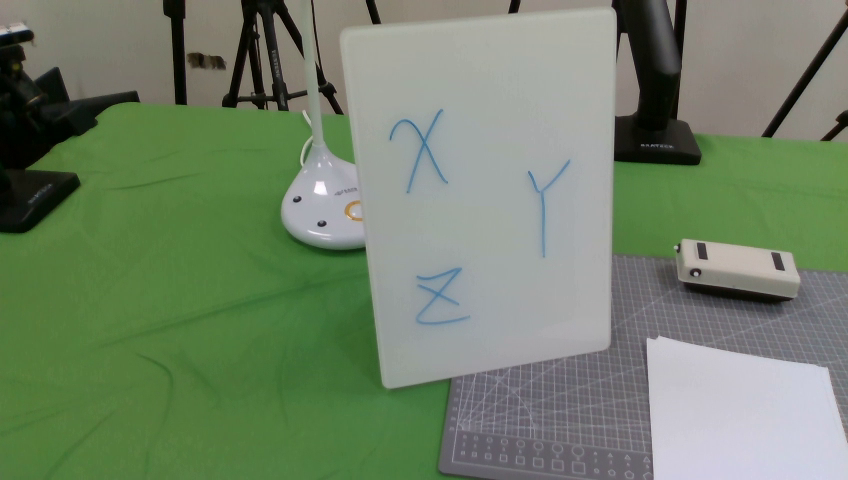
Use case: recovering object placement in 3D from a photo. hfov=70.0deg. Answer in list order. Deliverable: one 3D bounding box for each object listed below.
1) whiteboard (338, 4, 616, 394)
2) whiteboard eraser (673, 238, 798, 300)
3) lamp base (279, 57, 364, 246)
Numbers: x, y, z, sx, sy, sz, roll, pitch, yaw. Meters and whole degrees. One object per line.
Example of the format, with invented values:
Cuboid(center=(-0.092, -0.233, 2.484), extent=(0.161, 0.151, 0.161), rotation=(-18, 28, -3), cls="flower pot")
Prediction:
Cuboid(center=(0.044, -0.044, 0.563), extent=(0.217, 0.307, 0.142), rotation=(-8, 19, -9), cls="whiteboard")
Cuboid(center=(0.319, 0.031, 0.628), extent=(0.112, 0.042, 0.055), rotation=(9, 39, 12), cls="whiteboard eraser")
Cuboid(center=(-0.106, -0.110, 0.706), extent=(0.161, 0.182, 0.177), rotation=(-27, 42, -30), cls="lamp base")
